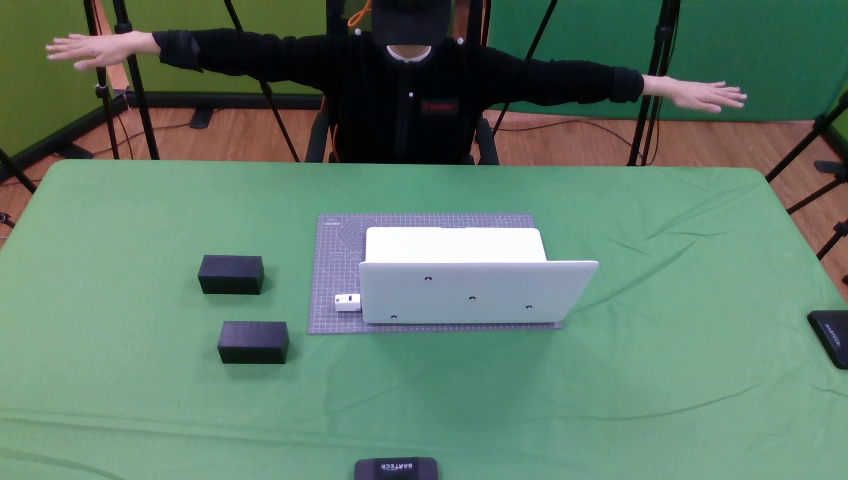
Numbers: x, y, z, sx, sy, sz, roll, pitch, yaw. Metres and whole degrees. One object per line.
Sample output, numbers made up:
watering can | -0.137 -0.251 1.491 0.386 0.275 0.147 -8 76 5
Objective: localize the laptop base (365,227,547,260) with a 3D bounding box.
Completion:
laptop base | 0.065 0.062 1.144 0.355 0.023 0.234 0 43 -4

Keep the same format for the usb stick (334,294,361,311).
usb stick | -0.128 0.111 1.066 0.059 0.027 0.021 2 45 -5

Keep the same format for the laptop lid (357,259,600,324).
laptop lid | 0.075 0.087 0.959 0.357 0.242 0.013 1 60 -5
